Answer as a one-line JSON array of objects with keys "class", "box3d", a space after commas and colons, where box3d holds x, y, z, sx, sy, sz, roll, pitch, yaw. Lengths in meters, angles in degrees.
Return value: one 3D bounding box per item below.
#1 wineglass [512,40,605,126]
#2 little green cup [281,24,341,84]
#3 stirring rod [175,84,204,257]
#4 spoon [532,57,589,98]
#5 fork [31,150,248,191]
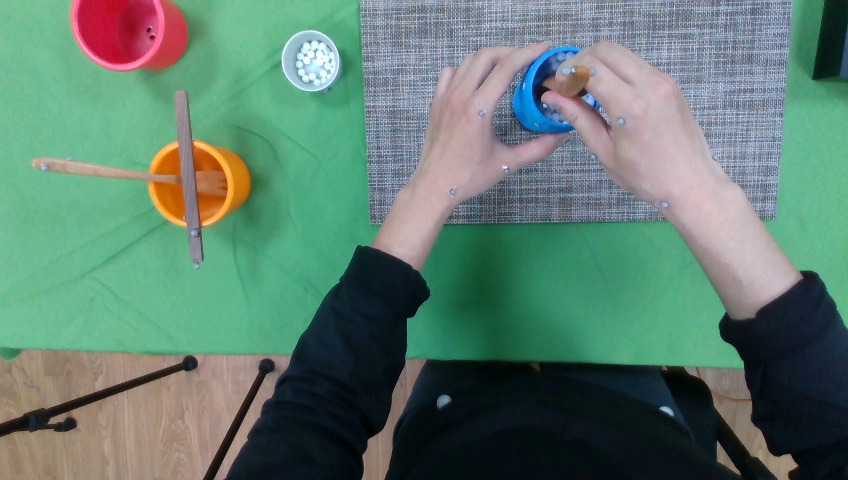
[{"class": "wineglass", "box3d": [0.121, -0.143, 0.573, 0.074, 0.172, 0.074, 1, 100, 4]}, {"class": "little green cup", "box3d": [-0.118, -0.197, 0.650, 0.061, 0.038, 0.062, 1, 101, 4]}, {"class": "stirring rod", "box3d": [-0.242, -0.070, 0.624, 0.014, 0.006, 0.176, -1, 100, 4]}, {"class": "spoon", "box3d": [0.106, -0.120, 0.457, 0.041, 0.193, 0.022, 18, 104, 3]}, {"class": "fork", "box3d": [-0.284, -0.073, 0.628, 0.209, 0.018, 0.028, 3, 111, -41]}]
